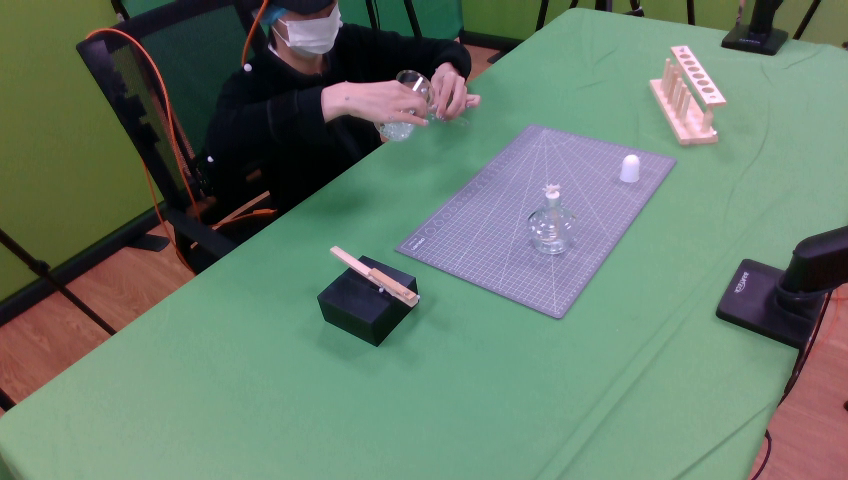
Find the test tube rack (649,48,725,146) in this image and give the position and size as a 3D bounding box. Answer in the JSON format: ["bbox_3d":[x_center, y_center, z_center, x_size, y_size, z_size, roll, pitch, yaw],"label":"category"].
[{"bbox_3d":[0.508,-0.285,1.186,0.067,0.085,0.241,-4,40,6],"label":"test tube rack"}]

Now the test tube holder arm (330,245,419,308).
[{"bbox_3d":[-0.074,0.049,0.857,0.177,0.013,0.015,30,53,36],"label":"test tube holder arm"}]

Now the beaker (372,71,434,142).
[{"bbox_3d":[-0.035,-0.219,1.009,0.073,0.084,0.100,7,55,35],"label":"beaker"}]

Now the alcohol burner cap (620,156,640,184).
[{"bbox_3d":[0.358,-0.124,1.047,0.034,0.048,0.033,-4,40,4],"label":"alcohol burner cap"}]

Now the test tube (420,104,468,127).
[{"bbox_3d":[0.040,-0.228,1.119,0.017,0.017,0.151,23,11,32],"label":"test tube"}]

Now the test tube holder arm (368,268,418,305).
[{"bbox_3d":[-0.043,0.063,0.827,0.015,0.010,0.087,-37,47,-29],"label":"test tube holder arm"}]

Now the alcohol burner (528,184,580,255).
[{"bbox_3d":[0.196,-0.036,0.911,0.078,0.119,0.077,-6,41,5],"label":"alcohol burner"}]
